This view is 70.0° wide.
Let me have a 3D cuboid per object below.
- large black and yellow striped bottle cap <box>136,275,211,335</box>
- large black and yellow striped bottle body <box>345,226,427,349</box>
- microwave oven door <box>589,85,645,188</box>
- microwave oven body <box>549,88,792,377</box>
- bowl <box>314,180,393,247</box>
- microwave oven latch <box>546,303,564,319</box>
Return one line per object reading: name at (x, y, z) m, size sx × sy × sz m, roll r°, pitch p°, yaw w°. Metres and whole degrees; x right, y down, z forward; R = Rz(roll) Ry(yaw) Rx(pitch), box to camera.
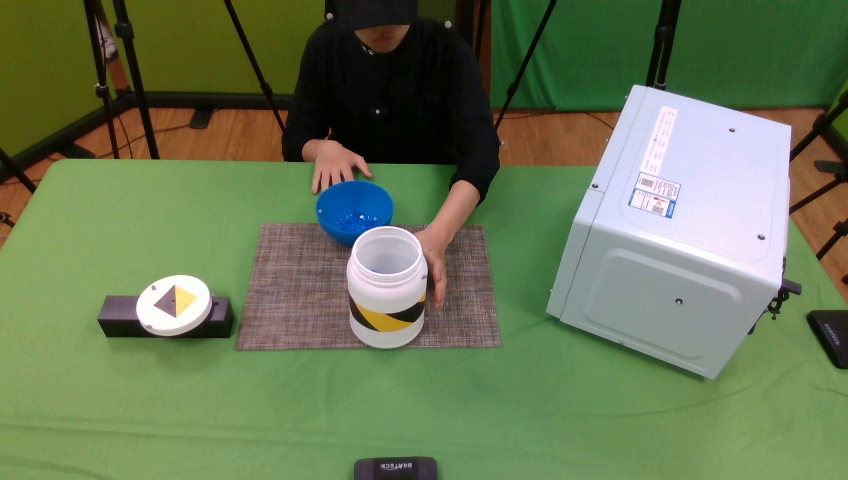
large black and yellow striped bottle cap at (-0.412, 0.105, 0.999) m, size 0.115 × 0.019 × 0.114 m, roll 3°, pitch 46°, yaw -3°
large black and yellow striped bottle body at (-0.062, 0.078, 0.998) m, size 0.131 × 0.185 × 0.130 m, roll 2°, pitch 46°, yaw -2°
microwave oven door at (0.341, -0.107, 1.149) m, size 0.039 × 0.245 × 0.354 m, roll 20°, pitch 48°, yaw 15°
microwave oven body at (0.456, -0.028, 1.088) m, size 0.325 × 0.261 × 0.440 m, roll 20°, pitch 47°, yaw 16°
bowl at (-0.135, -0.039, 1.181) m, size 0.151 × 0.077 × 0.150 m, roll 2°, pitch 46°, yaw -2°
microwave oven latch at (0.242, 0.102, 1.081) m, size 0.030 × 0.029 × 0.079 m, roll 21°, pitch 48°, yaw 17°
